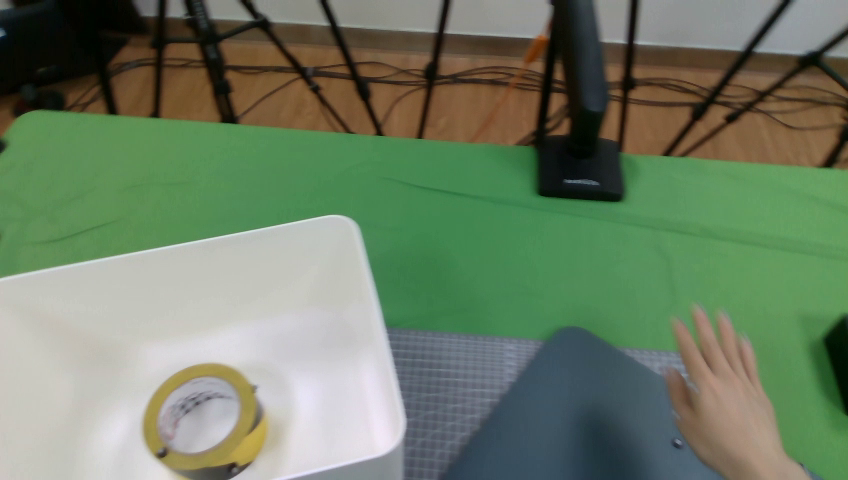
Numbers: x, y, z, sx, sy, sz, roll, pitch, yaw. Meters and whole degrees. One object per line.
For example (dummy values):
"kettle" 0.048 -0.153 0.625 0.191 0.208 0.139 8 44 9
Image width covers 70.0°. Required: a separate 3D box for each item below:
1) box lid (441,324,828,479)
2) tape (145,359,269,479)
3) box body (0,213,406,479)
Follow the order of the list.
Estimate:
"box lid" 0.229 0.262 0.589 0.368 0.015 0.263 33 59 22
"tape" -0.219 0.182 0.615 0.117 0.053 0.115 0 52 0
"box body" -0.212 0.146 0.581 0.365 0.162 0.251 -11 53 -8
